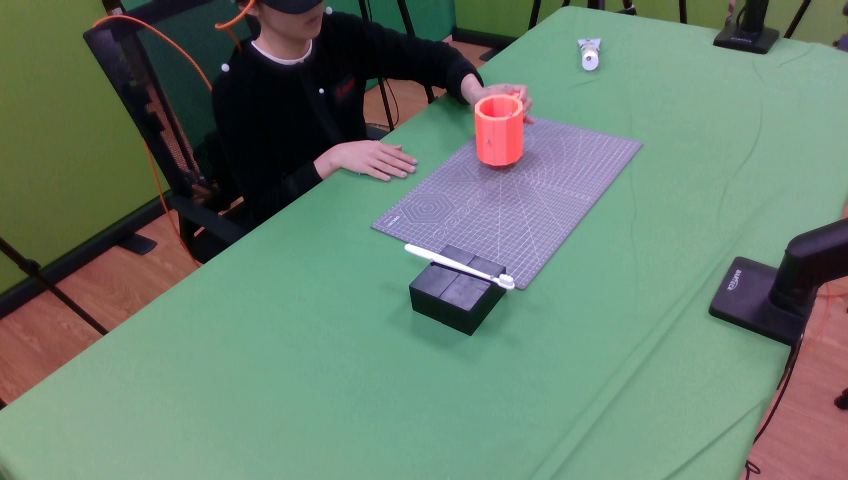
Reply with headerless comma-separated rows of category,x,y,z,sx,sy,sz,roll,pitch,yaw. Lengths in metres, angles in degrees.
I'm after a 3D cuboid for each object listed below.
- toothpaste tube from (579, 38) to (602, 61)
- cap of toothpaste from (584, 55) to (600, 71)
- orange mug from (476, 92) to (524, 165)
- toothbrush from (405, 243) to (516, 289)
toothpaste tube,0.398,-0.449,1.433,0.055,0.034,0.164,6,38,8
cap of toothpaste,0.381,-0.403,1.372,0.037,0.037,0.011,2,38,10
orange mug,0.148,-0.211,1.103,0.083,0.101,0.126,20,53,27
toothbrush,0.048,0.034,0.859,0.180,0.017,0.014,19,51,28
